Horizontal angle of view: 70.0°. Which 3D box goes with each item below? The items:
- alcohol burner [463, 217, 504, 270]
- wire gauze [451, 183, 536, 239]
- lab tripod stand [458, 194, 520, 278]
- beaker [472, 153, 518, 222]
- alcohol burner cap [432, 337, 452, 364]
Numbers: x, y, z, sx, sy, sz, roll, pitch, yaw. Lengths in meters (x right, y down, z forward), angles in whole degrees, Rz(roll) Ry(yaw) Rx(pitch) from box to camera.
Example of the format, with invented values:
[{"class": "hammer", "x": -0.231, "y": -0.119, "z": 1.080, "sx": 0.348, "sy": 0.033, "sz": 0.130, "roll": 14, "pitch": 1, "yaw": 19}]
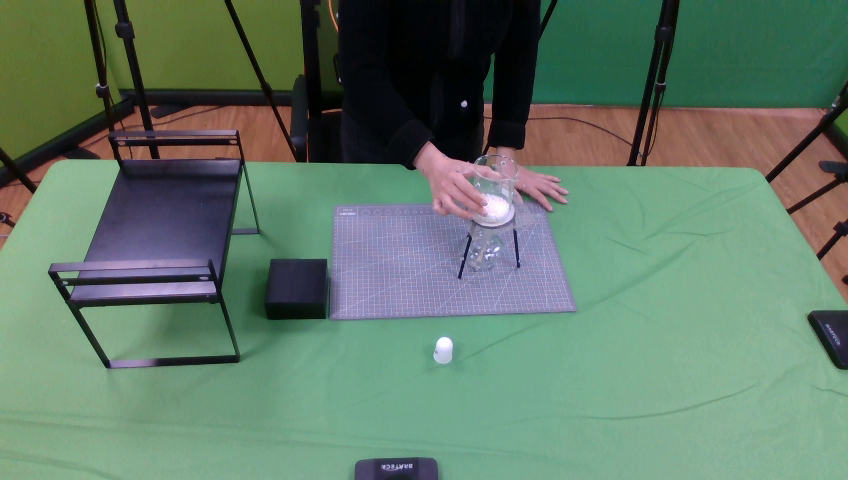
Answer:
[{"class": "alcohol burner", "x": 0.114, "y": 0.000, "z": 1.139, "sx": 0.078, "sy": 0.119, "sz": 0.077, "roll": 3, "pitch": 48, "yaw": -3}, {"class": "wire gauze", "x": 0.123, "y": -0.057, "z": 1.087, "sx": 0.121, "sy": 0.011, "sz": 0.124, "roll": -12, "pitch": 46, "yaw": -13}, {"class": "lab tripod stand", "x": 0.115, "y": -0.011, "z": 1.135, "sx": 0.148, "sy": 0.132, "sz": 0.147, "roll": 1, "pitch": 45, "yaw": -1}, {"class": "beaker", "x": 0.121, "y": -0.086, "z": 1.043, "sx": 0.083, "sy": 0.101, "sz": 0.074, "roll": 29, "pitch": 50, "yaw": 26}, {"class": "alcohol burner cap", "x": 0.031, "y": 0.182, "z": 1.011, "sx": 0.034, "sy": 0.048, "sz": 0.033, "roll": 4, "pitch": 45, "yaw": -4}]
